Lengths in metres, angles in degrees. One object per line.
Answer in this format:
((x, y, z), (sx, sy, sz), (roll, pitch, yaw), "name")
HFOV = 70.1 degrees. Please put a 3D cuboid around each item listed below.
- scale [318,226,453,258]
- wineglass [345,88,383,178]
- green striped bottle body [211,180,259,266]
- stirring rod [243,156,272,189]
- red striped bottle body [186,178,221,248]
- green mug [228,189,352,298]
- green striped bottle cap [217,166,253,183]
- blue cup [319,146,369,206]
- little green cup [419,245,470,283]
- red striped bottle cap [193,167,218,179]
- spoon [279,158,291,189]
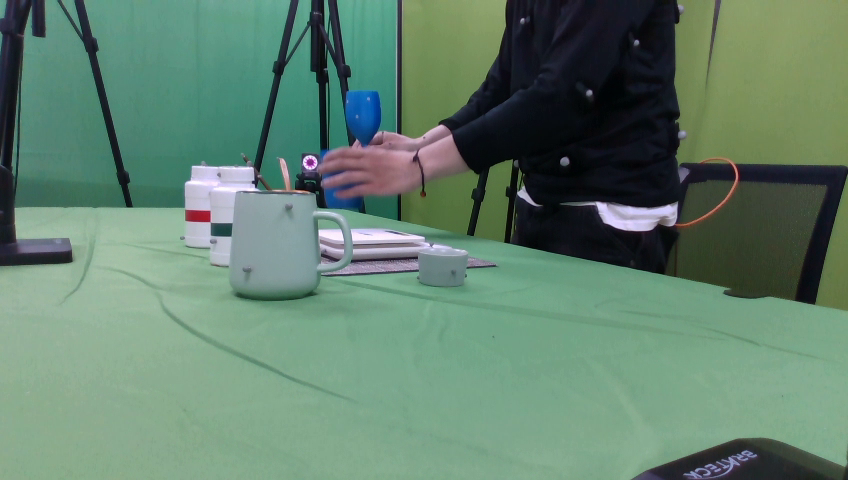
((-0.067, 0.001, 0.906), (0.202, 0.031, 0.148), (-2, 8, -31), "scale")
((-0.118, -0.212, 1.203), (0.074, 0.172, 0.073), (-2, 10, 1), "wineglass")
((-0.243, -0.029, 0.784), (0.063, 0.119, 0.063), (2, 7, 0), "green striped bottle body")
((-0.304, -0.099, 1.201), (0.006, 0.177, 0.014), (-27, 37, 7), "stirring rod")
((-0.331, -0.050, 0.927), (0.063, 0.119, 0.063), (2, 7, 0), "red striped bottle body")
((-0.135, 0.002, 0.618), (0.125, 0.105, 0.092), (2, 7, 4), "green mug")
((-0.242, -0.085, 0.777), (0.044, 0.020, 0.044), (2, 9, 0), "green striped bottle cap")
((-0.139, -0.110, 1.057), (0.093, 0.100, 0.092), (0, 4, 0), "blue cup")
((0.023, 0.028, 0.713), (0.061, 0.038, 0.061), (2, 6, 0), "little green cup")
((-0.329, -0.103, 0.921), (0.044, 0.017, 0.044), (0, 9, 0), "red striped bottle cap")
((-0.280, -0.103, 1.251), (0.042, 0.193, 0.021), (7, -40, -30), "spoon")
